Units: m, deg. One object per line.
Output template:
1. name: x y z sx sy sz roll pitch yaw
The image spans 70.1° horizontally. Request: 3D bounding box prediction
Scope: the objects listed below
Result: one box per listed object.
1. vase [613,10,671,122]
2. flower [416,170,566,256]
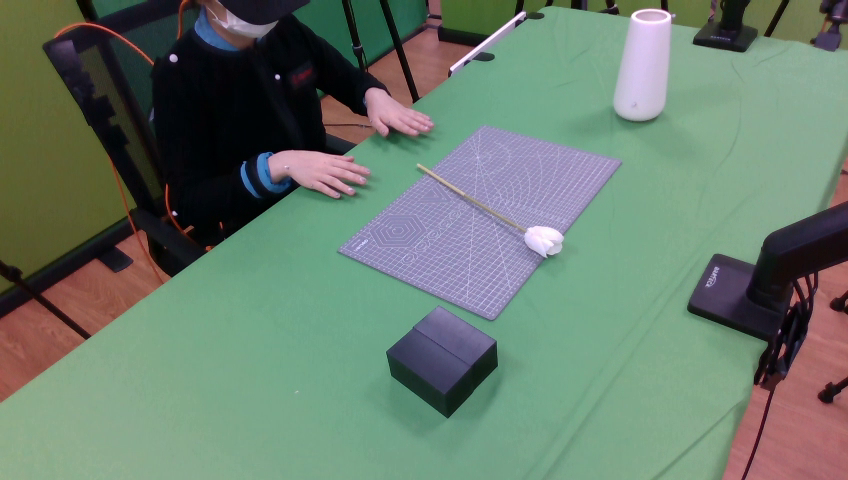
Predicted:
1. vase: 0.419 -0.326 1.151 0.098 0.201 0.097 -4 42 4
2. flower: 0.094 -0.061 1.028 0.358 0.038 0.044 33 92 44
